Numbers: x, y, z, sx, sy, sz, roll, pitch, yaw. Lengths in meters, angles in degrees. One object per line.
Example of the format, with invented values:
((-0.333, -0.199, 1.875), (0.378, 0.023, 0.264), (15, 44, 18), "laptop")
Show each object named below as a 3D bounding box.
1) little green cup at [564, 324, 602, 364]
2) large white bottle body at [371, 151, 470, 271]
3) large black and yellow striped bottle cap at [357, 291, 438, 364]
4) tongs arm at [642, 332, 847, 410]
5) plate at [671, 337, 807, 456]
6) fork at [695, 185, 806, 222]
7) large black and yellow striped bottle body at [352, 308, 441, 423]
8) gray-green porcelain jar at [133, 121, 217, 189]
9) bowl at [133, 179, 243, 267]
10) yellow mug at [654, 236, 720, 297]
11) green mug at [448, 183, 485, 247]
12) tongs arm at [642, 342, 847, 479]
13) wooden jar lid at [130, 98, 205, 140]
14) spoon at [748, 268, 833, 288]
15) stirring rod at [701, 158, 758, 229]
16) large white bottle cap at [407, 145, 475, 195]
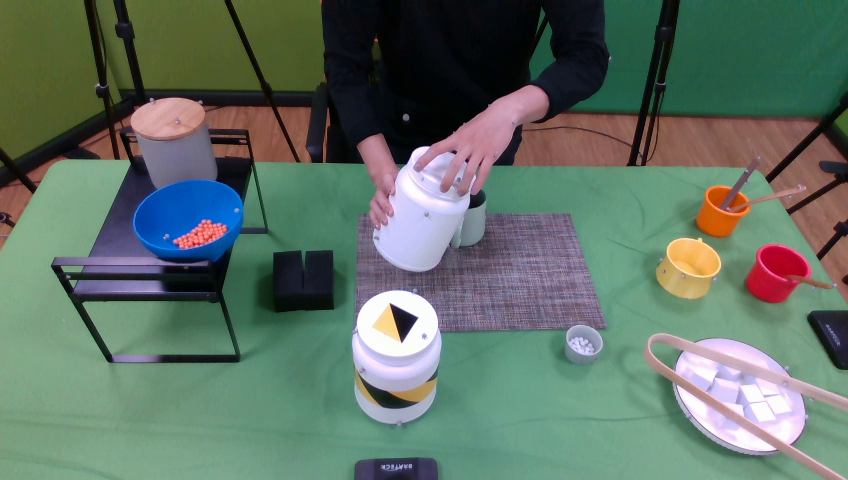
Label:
((0.269, 0.180, 1.035), (0.061, 0.039, 0.061), (2, 45, -2), "little green cup")
((-0.002, -0.053, 1.034), (0.131, 0.185, 0.130), (17, 37, -13), "large white bottle body")
((-0.037, 0.121, 0.851), (0.115, 0.019, 0.114), (1, 46, -1), "large black and yellow striped bottle cap")
((0.546, 0.227, 0.968), (0.384, 0.026, 0.050), (22, 52, 13), "tongs arm")
((0.504, 0.254, 0.984), (0.208, 0.039, 0.206), (2, 46, -2), "plate")
((0.658, -0.074, 1.230), (0.207, 0.019, 0.028), (-23, 36, 37), "fork")
((-0.042, 0.177, 0.912), (0.131, 0.185, 0.130), (2, 46, -2), "large black and yellow striped bottle body")
((-0.397, -0.141, 0.980), (0.106, 0.127, 0.105), (2, 47, -2), "gray-green porcelain jar")
((-0.339, -0.013, 0.895), (0.151, 0.077, 0.150), (2, 46, -2), "bowl")
((0.509, 0.041, 1.167), (0.099, 0.064, 0.130), (24, 48, 18), "yellow mug")
((0.071, -0.040, 1.178), (0.092, 0.105, 0.124), (12, 47, 7), "green mug")
((0.504, 0.279, 0.918), (0.386, 0.028, 0.028), (34, 59, 22), "tongs arm")
((-0.393, -0.183, 0.934), (0.108, 0.021, 0.107), (3, 44, -2), "wooden jar lid")
((0.660, 0.068, 1.097), (0.041, 0.193, 0.021), (-4, 91, -6), "spoon")
((0.634, -0.096, 1.257), (0.014, 0.006, 0.176), (38, 97, 29), "stirring rod")
((0.028, -0.115, 0.985), (0.115, 0.018, 0.114), (16, 37, -13), "large white bottle cap")
